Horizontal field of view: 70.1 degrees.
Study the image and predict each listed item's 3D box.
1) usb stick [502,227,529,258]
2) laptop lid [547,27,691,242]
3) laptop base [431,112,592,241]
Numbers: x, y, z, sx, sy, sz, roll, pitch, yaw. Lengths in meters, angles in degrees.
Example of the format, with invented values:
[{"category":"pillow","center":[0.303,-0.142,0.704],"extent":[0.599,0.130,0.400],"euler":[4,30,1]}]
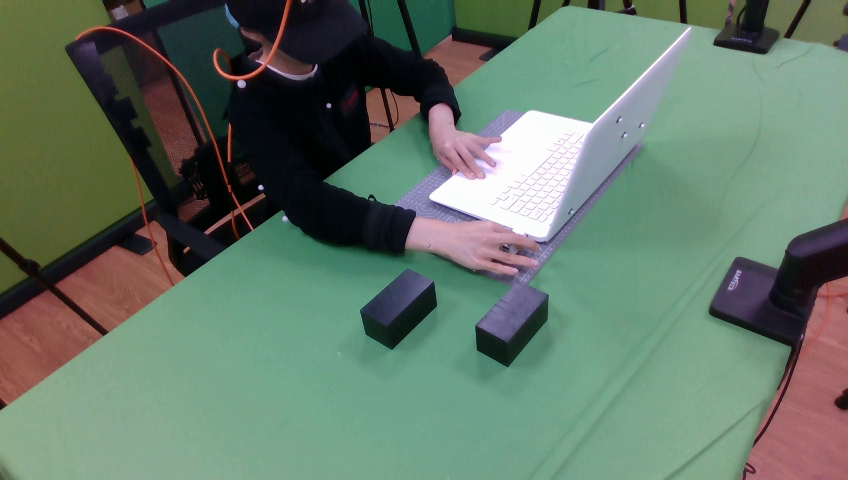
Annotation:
[{"category":"usb stick","center":[0.146,0.000,0.938],"extent":[0.021,0.027,0.059],"euler":[25,50,31]},{"category":"laptop lid","center":[0.309,-0.166,0.948],"extent":[0.013,0.242,0.358],"euler":[33,52,20]},{"category":"laptop base","center":[0.207,-0.129,1.099],"extent":[0.233,0.023,0.355],"euler":[20,47,34]}]
